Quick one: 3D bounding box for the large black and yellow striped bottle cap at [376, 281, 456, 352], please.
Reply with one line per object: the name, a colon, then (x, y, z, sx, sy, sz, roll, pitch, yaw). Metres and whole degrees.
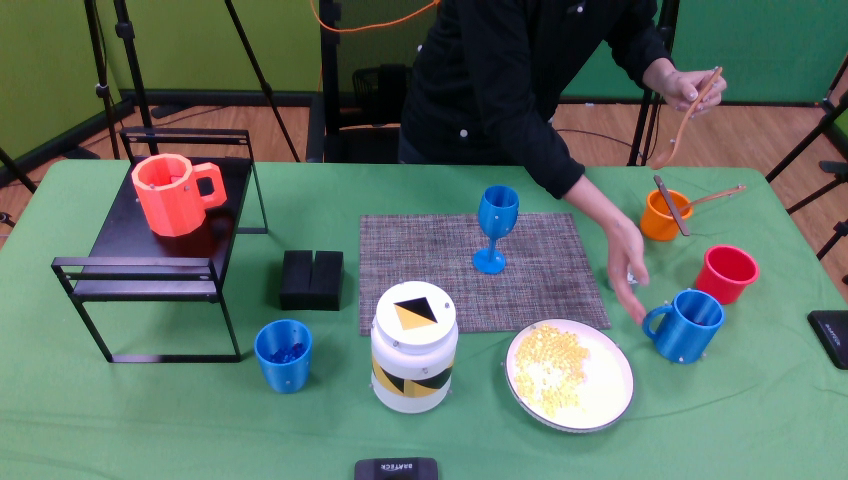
large black and yellow striped bottle cap: (-0.011, 0.107, 0.863, 0.115, 0.019, 0.114, 2, 47, -2)

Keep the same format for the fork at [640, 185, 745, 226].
fork: (0.534, -0.069, 1.215, 0.207, 0.019, 0.028, -26, 26, 33)

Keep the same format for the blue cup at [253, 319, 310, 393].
blue cup: (-0.217, 0.187, 0.943, 0.093, 0.101, 0.092, 3, 45, -3)

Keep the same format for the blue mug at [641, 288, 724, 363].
blue mug: (0.432, 0.144, 1.033, 0.116, 0.106, 0.082, 8, 46, 4)

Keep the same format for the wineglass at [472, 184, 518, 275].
wineglass: (0.129, -0.018, 1.113, 0.074, 0.173, 0.073, 2, 46, -2)

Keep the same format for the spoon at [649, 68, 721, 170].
spoon: (0.438, -0.202, 1.019, 0.021, 0.194, 0.041, 24, 17, -5)

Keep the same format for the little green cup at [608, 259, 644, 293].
little green cup: (0.379, 0.070, 1.147, 0.061, 0.039, 0.061, 3, 45, -3)

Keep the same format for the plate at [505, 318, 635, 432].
plate: (0.235, 0.221, 0.991, 0.209, 0.038, 0.208, 2, 45, -2)

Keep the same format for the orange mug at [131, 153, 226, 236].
orange mug: (-0.375, -0.075, 0.937, 0.126, 0.101, 0.083, -20, 50, -16)

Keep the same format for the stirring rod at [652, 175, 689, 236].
stirring rod: (0.491, -0.072, 1.211, 0.014, 0.006, 0.175, 0, 47, -6)

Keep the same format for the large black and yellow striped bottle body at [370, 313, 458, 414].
large black and yellow striped bottle body: (-0.017, 0.165, 0.924, 0.131, 0.185, 0.130, 2, 46, -2)
